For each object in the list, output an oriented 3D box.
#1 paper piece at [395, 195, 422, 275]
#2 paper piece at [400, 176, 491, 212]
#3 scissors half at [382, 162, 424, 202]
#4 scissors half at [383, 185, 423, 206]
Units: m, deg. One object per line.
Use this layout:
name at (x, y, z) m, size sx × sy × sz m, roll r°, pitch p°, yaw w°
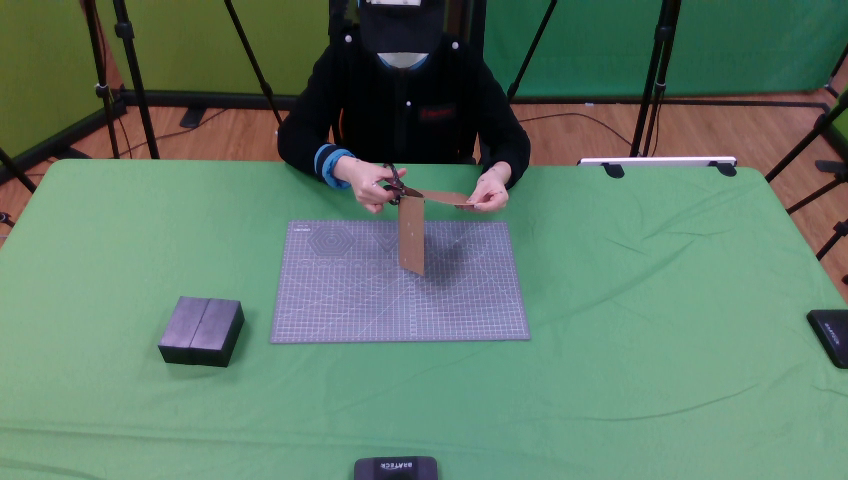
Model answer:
paper piece at (-0.029, -0.012, 1.087) m, size 0.004 × 0.136 × 0.135 m, roll -4°, pitch 7°, yaw -21°
paper piece at (0.036, -0.083, 1.107) m, size 0.139 × 0.008 × 0.135 m, roll 11°, pitch 18°, yaw -25°
scissors half at (-0.039, -0.103, 1.091) m, size 0.013 × 0.040 × 0.174 m, roll -15°, pitch 33°, yaw -22°
scissors half at (-0.038, -0.082, 1.097) m, size 0.013 × 0.040 × 0.174 m, roll -10°, pitch 7°, yaw -23°
